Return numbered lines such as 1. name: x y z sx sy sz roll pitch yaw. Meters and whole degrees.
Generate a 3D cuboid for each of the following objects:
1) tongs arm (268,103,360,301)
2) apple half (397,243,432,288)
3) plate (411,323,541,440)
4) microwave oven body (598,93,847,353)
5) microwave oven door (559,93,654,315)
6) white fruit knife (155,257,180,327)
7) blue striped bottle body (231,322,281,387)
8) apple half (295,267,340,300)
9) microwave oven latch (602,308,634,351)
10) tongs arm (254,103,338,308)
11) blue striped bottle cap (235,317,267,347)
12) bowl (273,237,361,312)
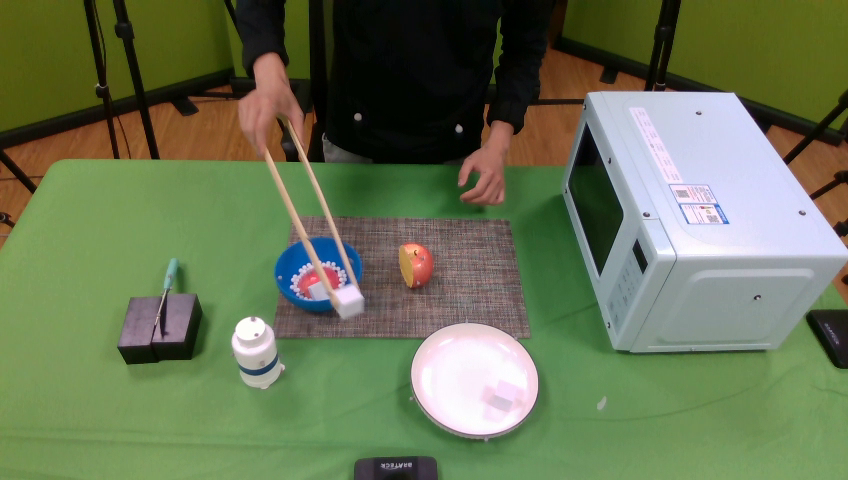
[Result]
1. tongs arm: -0.179 -0.072 0.985 0.028 0.028 0.385 -19 68 -18
2. apple half: -0.013 0.047 1.115 0.053 0.075 0.080 -10 43 -21
3. plate: 0.082 0.228 0.976 0.208 0.039 0.206 2 45 -2
4. microwave oven body: 0.475 -0.041 1.110 0.326 0.261 0.438 -1 45 -4
5. microwave oven door: 0.327 -0.074 1.123 0.039 0.245 0.353 0 46 -5
6. white fruit knife: -0.440 0.085 1.037 0.016 0.027 0.206 10 26 -19
7. blue striped bottle body: -0.262 0.171 0.944 0.063 0.121 0.062 2 46 -2
8. apple half: -0.187 0.070 1.067 0.081 0.033 0.081 3 46 -3
9. microwave oven latch: 0.332 0.153 1.044 0.030 0.029 0.078 -1 45 -4
10. tongs arm: -0.202 -0.065 0.976 0.051 0.026 0.383 -22 69 -22
11. blue striped bottle cap: -0.260 0.137 0.907 0.044 0.021 0.044 2 43 -2
12. bowl: -0.186 0.074 1.070 0.151 0.077 0.150 3 46 -3
